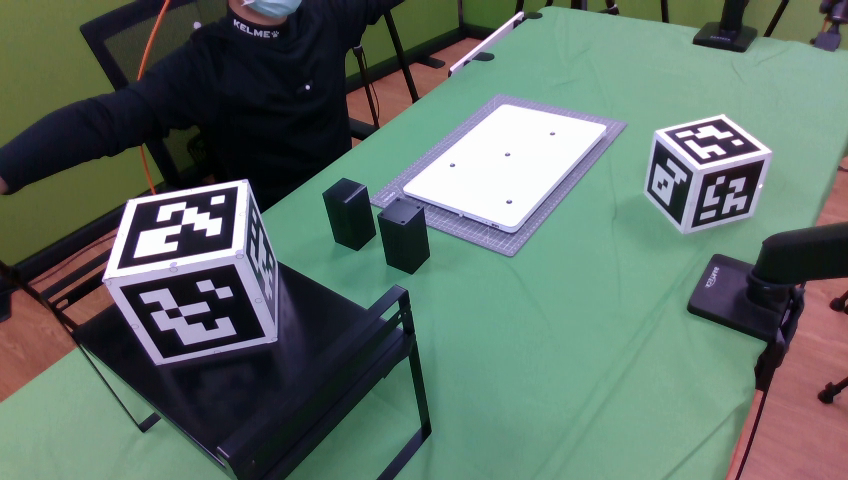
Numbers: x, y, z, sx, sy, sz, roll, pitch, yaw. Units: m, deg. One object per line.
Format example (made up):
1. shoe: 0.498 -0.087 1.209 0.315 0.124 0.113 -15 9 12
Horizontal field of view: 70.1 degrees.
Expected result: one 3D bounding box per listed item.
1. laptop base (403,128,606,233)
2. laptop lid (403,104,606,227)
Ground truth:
1. laptop base: 0.156 -0.144 1.116 0.233 0.023 0.355 20 47 32
2. laptop lid: 0.153 -0.154 1.110 0.240 0.013 0.358 22 48 33
